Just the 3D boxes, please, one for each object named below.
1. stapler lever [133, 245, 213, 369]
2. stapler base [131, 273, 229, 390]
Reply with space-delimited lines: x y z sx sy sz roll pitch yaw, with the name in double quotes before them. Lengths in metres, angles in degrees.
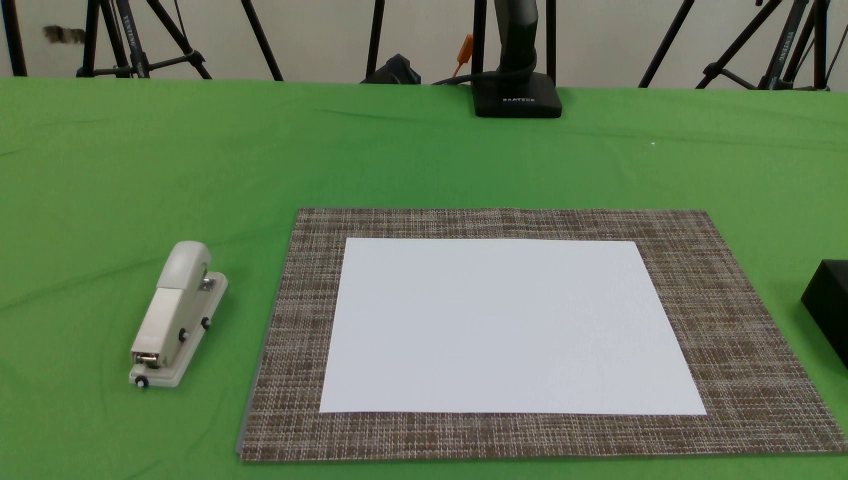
"stapler lever" -0.207 0.051 0.504 0.027 0.040 0.117 3 41 4
"stapler base" -0.208 0.069 0.522 0.041 0.024 0.129 3 41 4
